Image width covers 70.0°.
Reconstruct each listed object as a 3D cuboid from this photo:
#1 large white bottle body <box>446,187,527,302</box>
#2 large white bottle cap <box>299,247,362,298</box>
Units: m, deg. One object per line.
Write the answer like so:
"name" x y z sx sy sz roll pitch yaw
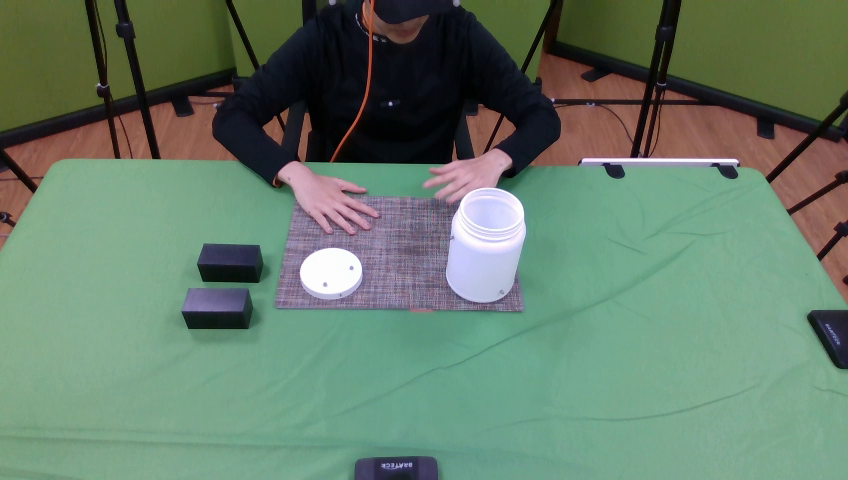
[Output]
"large white bottle body" 0.110 0.008 1.079 0.131 0.185 0.130 2 47 -2
"large white bottle cap" -0.174 0.059 1.124 0.115 0.018 0.114 2 46 -2
